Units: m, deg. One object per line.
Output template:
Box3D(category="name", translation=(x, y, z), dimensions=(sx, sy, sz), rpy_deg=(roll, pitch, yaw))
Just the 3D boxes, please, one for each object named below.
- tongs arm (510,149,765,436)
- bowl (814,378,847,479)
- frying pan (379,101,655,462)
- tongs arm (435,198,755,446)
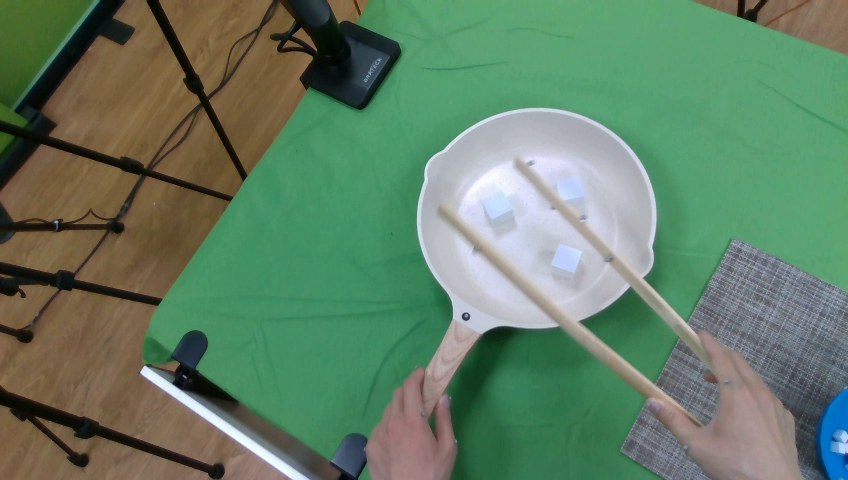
Box3D(category="tongs arm", translation=(0.203, 0.039, 0.639), dimensions=(0.051, 0.027, 0.381), rpy_deg=(-32, 65, -20))
Box3D(category="bowl", translation=(0.478, 0.212, 0.631), dimensions=(0.151, 0.077, 0.150), rpy_deg=(-3, 72, 9))
Box3D(category="frying pan", translation=(0.083, 0.048, 0.743), dimensions=(0.305, 0.103, 0.486), rpy_deg=(28, 71, 18))
Box3D(category="tongs arm", translation=(0.153, 0.074, 0.618), dimensions=(0.384, 0.028, 0.028), rpy_deg=(40, 61, 21))
